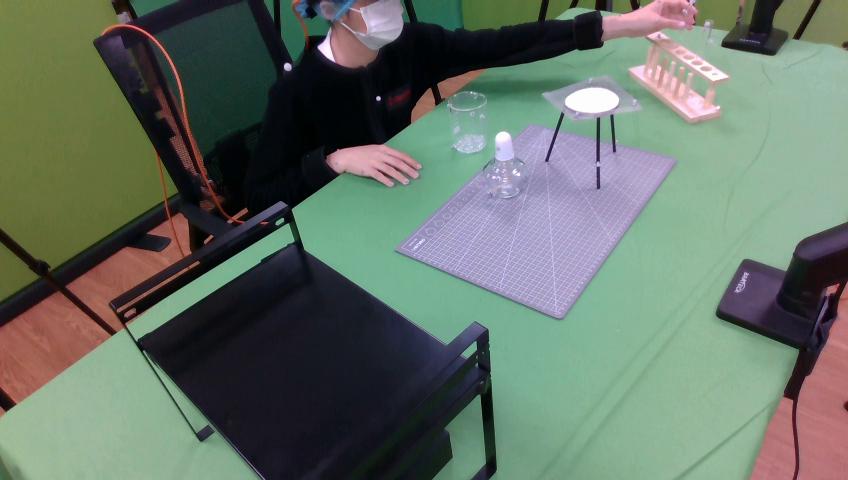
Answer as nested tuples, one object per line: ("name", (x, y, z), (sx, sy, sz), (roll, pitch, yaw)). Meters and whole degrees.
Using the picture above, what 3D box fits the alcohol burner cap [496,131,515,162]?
("alcohol burner cap", (0.135, -0.160, 1.019), (0.034, 0.048, 0.033), (-7, 38, 6))

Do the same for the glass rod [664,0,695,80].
("glass rod", (0.523, -0.415, 1.235), (0.008, 0.200, 0.008), (1, 46, -1))

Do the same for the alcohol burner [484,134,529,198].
("alcohol burner", (0.141, -0.133, 1.041), (0.078, 0.119, 0.077), (-5, 42, 5))

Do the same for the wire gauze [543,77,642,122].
("wire gauze", (0.282, -0.236, 1.020), (0.125, 0.011, 0.120), (-15, 40, -6))

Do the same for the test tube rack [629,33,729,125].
("test tube rack", (0.516, -0.337, 1.247), (0.067, 0.085, 0.240), (-14, 41, -7))

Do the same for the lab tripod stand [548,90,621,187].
("lab tripod stand", (0.289, -0.184, 1.062), (0.148, 0.132, 0.147), (-6, 41, 6))

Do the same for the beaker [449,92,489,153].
("beaker", (0.091, -0.228, 1.177), (0.073, 0.101, 0.084), (15, 45, 24))

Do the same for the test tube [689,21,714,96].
("test tube", (0.542, -0.353, 1.185), (0.017, 0.151, 0.017), (-2, 40, 2))
